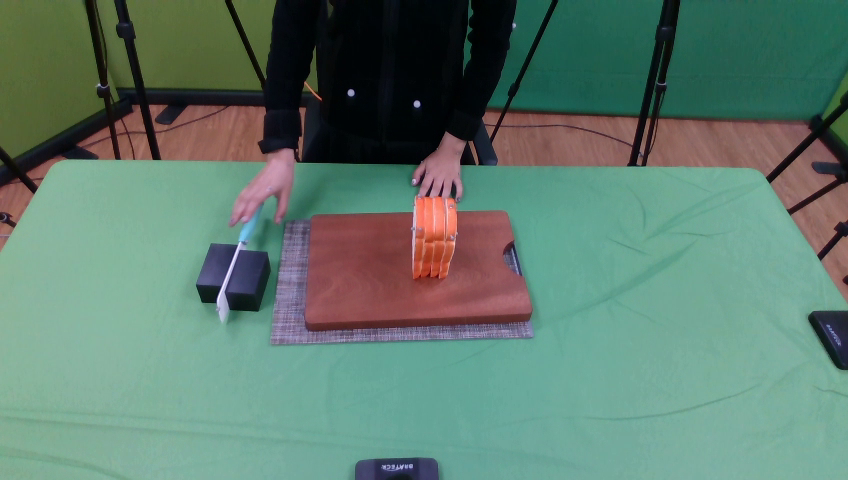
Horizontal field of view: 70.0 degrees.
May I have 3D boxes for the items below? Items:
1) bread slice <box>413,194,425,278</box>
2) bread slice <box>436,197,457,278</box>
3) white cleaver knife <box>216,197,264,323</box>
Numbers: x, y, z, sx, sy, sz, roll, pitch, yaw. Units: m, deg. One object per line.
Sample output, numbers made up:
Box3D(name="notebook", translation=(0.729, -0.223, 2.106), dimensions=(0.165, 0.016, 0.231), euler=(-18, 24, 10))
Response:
Box3D(name="bread slice", translation=(-0.010, -0.015, 1.095), dimensions=(0.018, 0.135, 0.106), euler=(0, 43, -3))
Box3D(name="bread slice", translation=(0.040, -0.010, 1.097), dimensions=(0.019, 0.132, 0.104), euler=(4, 48, -7))
Box3D(name="white cleaver knife", translation=(-0.341, 0.027, 1.118), dimensions=(0.021, 0.066, 0.284), euler=(9, 45, -3))
